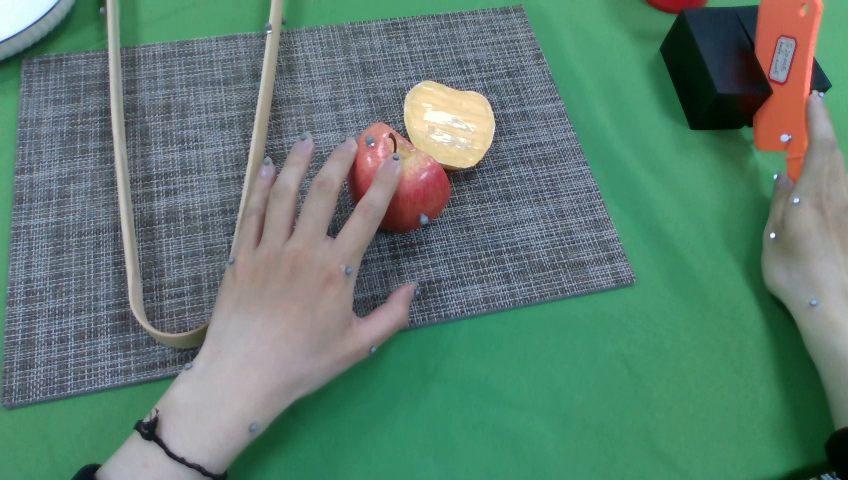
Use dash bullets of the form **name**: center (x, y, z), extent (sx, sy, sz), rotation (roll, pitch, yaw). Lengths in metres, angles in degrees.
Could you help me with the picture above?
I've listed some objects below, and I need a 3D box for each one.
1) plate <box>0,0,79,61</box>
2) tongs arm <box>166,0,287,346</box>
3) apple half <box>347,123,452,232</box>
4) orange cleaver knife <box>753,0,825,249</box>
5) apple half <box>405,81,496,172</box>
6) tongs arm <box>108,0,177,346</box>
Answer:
- **plate**: center (-0.400, -0.221, 0.526), extent (0.209, 0.038, 0.207), rotation (2, 62, -4)
- **tongs arm**: center (-0.148, -0.103, 0.491), extent (0.051, 0.027, 0.381), rotation (1, 63, -6)
- **apple half**: center (-0.025, -0.037, 0.446), extent (0.080, 0.075, 0.053), rotation (38, 69, 10)
- **orange cleaver knife**: center (0.300, -0.099, 0.503), extent (0.012, 0.077, 0.211), rotation (-4, 95, -8)
- **apple half**: center (0.017, -0.088, 0.498), extent (0.081, 0.033, 0.081), rotation (4, 74, -14)
- **tongs arm**: center (-0.232, -0.097, 0.481), extent (0.028, 0.028, 0.384), rotation (-10, 65, -15)
